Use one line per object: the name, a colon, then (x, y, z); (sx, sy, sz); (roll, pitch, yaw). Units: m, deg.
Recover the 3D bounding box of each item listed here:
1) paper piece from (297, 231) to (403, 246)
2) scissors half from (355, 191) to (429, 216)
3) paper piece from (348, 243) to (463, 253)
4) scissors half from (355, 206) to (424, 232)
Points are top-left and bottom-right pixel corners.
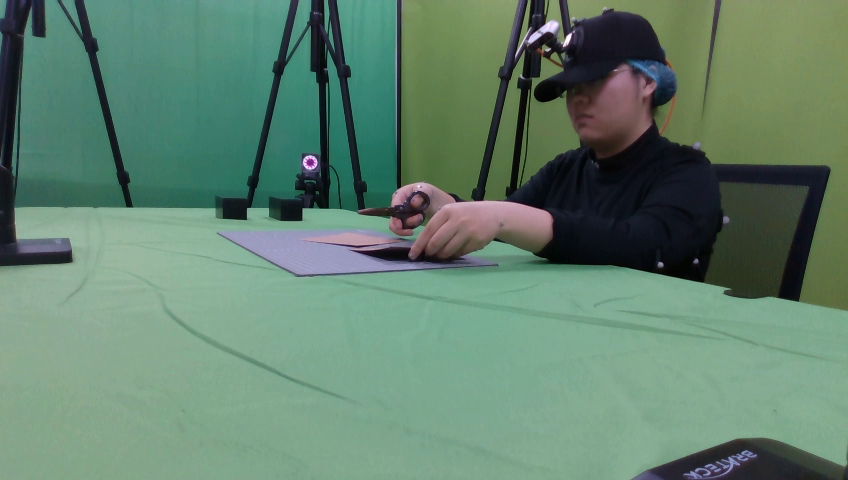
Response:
paper piece: (-0.127, -0.003, 1.052); (0.135, 0.004, 0.136); (7, 8, 33)
scissors half: (-0.052, -0.059, 1.031); (0.013, 0.040, 0.176); (25, 26, 36)
paper piece: (-0.027, 0.014, 0.918); (0.137, 0.008, 0.137); (-5, 5, -32)
scissors half: (-0.058, -0.040, 1.037); (0.012, 0.040, 0.176); (32, 11, 35)
